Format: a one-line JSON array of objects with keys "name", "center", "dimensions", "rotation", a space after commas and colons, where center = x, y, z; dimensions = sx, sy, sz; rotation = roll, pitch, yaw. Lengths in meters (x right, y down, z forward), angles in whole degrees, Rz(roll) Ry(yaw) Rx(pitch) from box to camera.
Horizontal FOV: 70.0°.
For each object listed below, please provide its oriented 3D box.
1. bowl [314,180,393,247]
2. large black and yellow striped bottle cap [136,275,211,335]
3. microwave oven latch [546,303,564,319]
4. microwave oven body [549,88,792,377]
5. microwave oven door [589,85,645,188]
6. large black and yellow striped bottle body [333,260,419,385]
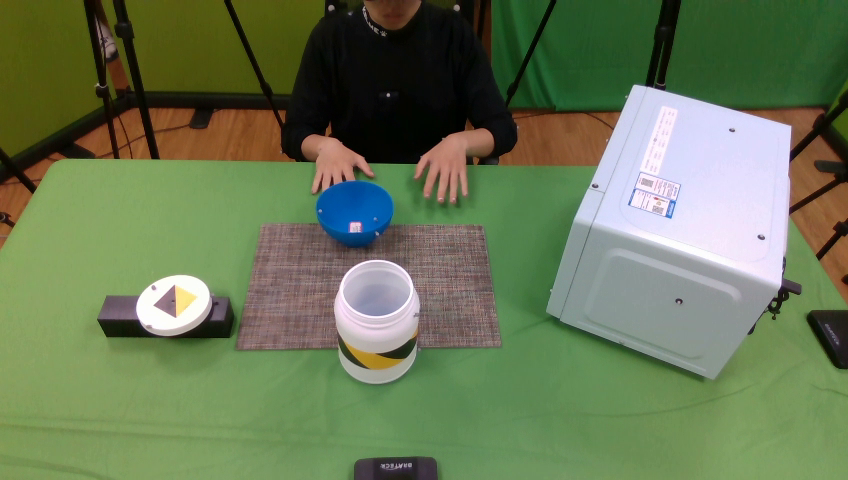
[{"name": "bowl", "center": [-0.135, -0.039, 1.180], "dimensions": [0.151, 0.077, 0.150], "rotation": [3, 46, -2]}, {"name": "large black and yellow striped bottle cap", "center": [-0.412, 0.105, 0.999], "dimensions": [0.115, 0.019, 0.114], "rotation": [3, 46, -3]}, {"name": "microwave oven latch", "center": [0.242, 0.102, 1.081], "dimensions": [0.030, 0.029, 0.079], "rotation": [21, 48, 17]}, {"name": "microwave oven body", "center": [0.456, -0.028, 1.088], "dimensions": [0.325, 0.261, 0.440], "rotation": [20, 47, 16]}, {"name": "microwave oven door", "center": [0.341, -0.107, 1.149], "dimensions": [0.039, 0.245, 0.354], "rotation": [20, 48, 15]}, {"name": "large black and yellow striped bottle body", "center": [-0.075, 0.129, 0.950], "dimensions": [0.131, 0.185, 0.130], "rotation": [2, 49, -2]}]
